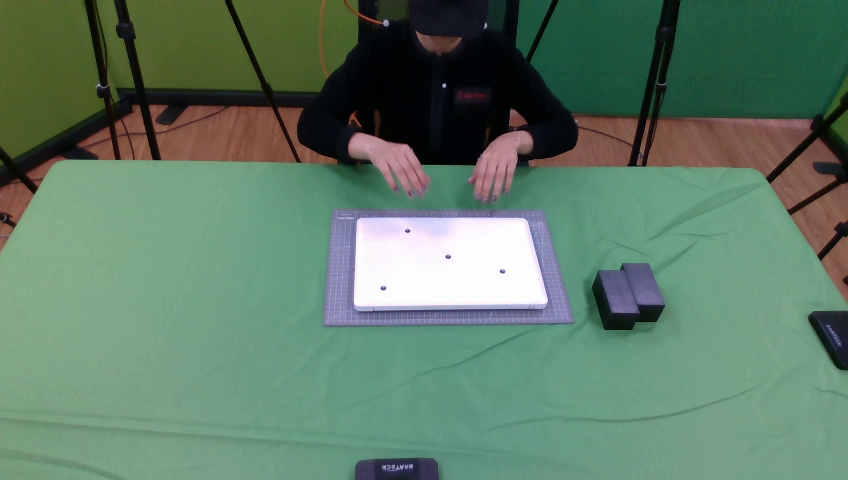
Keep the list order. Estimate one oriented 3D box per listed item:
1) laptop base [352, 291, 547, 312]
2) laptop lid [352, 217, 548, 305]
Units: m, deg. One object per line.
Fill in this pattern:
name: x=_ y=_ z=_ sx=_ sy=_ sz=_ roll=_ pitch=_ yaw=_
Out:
laptop base: x=0.043 y=0.044 z=1.162 sx=0.355 sy=0.023 sz=0.234 roll=0 pitch=43 yaw=-5
laptop lid: x=0.044 y=0.034 z=1.155 sx=0.357 sy=0.013 sz=0.240 roll=1 pitch=44 yaw=-3
